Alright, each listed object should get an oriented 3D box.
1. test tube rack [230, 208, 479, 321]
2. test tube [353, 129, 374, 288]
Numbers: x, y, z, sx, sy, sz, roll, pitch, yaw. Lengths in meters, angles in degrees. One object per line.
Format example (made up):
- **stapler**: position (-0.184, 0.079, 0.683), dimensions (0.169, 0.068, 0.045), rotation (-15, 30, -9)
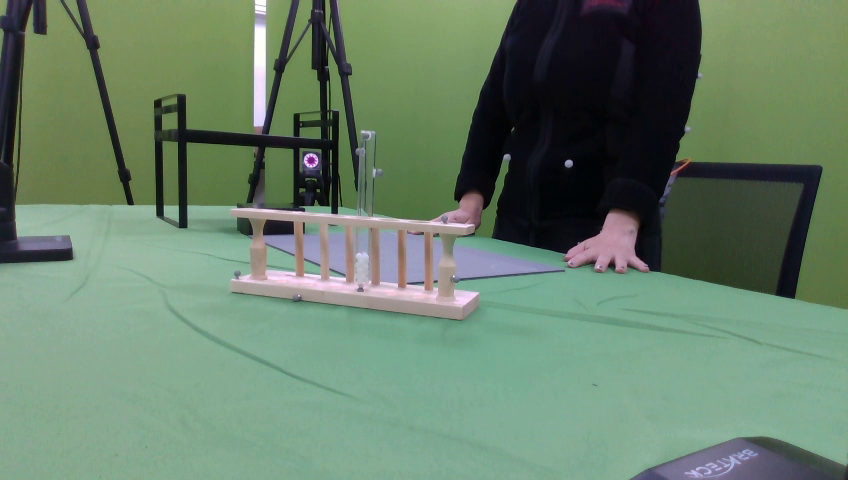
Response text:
- **test tube rack**: position (-0.069, 0.017, 0.598), dimensions (0.242, 0.085, 0.067), rotation (5, 8, 18)
- **test tube**: position (-0.057, -0.028, 0.570), dimensions (0.017, 0.150, 0.017), rotation (3, 11, 0)
